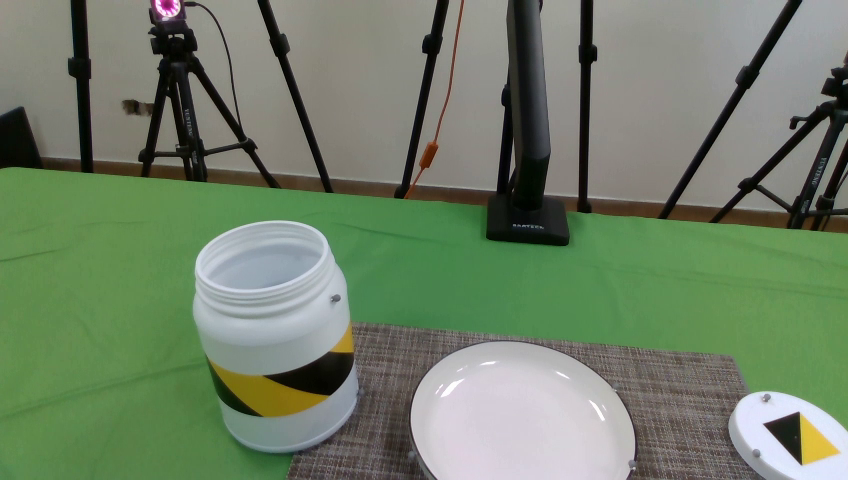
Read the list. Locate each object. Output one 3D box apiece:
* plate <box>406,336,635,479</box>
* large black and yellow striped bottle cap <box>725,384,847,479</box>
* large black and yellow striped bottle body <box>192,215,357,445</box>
[{"bbox_3d":[0.087,0.174,0.565,0.208,0.039,0.205,2,34,-1],"label":"plate"},{"bbox_3d":[0.352,0.187,0.584,0.115,0.019,0.114,5,35,-3],"label":"large black and yellow striped bottle cap"},{"bbox_3d":[-0.134,0.081,0.556,0.131,0.185,0.129,-1,34,1],"label":"large black and yellow striped bottle body"}]
